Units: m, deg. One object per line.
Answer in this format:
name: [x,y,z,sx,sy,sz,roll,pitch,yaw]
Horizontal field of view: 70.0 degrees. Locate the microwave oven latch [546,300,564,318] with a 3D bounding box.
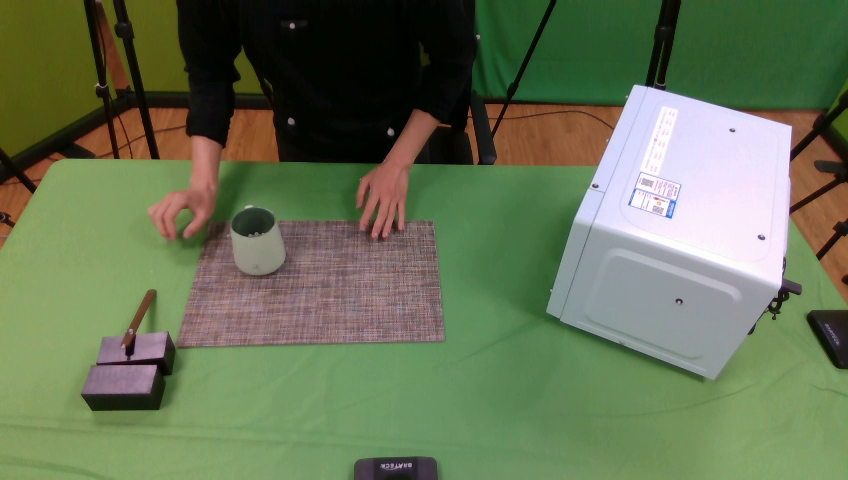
microwave oven latch: [0.242,0.102,1.081,0.030,0.029,0.079,21,48,17]

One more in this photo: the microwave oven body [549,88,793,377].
microwave oven body: [0.456,-0.028,1.088,0.325,0.261,0.440,20,47,16]

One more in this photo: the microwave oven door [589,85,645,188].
microwave oven door: [0.342,-0.107,1.148,0.039,0.245,0.354,20,48,15]

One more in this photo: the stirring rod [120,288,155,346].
stirring rod: [-0.474,0.125,1.008,0.014,0.006,0.175,-5,26,-8]

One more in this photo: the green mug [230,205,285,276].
green mug: [-0.311,-0.008,1.118,0.092,0.105,0.124,-14,49,-16]
